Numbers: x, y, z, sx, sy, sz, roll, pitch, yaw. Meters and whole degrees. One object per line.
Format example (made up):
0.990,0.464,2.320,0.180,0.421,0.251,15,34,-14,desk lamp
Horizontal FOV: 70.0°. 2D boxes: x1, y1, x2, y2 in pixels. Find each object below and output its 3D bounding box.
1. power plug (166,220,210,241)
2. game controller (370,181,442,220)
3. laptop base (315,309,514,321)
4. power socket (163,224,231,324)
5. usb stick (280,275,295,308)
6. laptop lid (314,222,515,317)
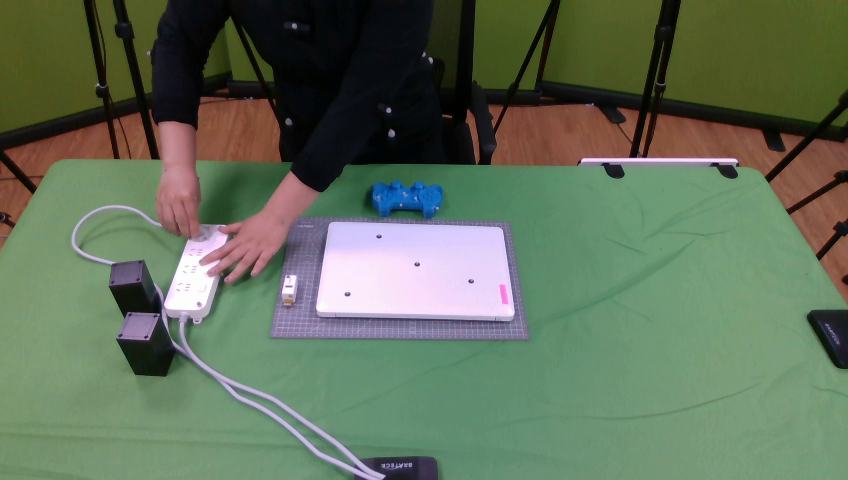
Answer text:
-0.440,-0.016,1.144,0.072,0.053,0.035,10,46,9,power plug
-0.038,-0.092,1.268,0.155,0.052,0.096,2,51,-2,game controller
-0.016,0.059,1.141,0.354,0.023,0.234,2,43,-3,laptop base
-0.411,0.053,1.107,0.072,0.033,0.225,4,45,-3,power socket
-0.244,0.093,1.081,0.021,0.027,0.059,3,48,-5,usb stick
-0.016,0.049,1.134,0.357,0.013,0.240,3,43,-1,laptop lid
